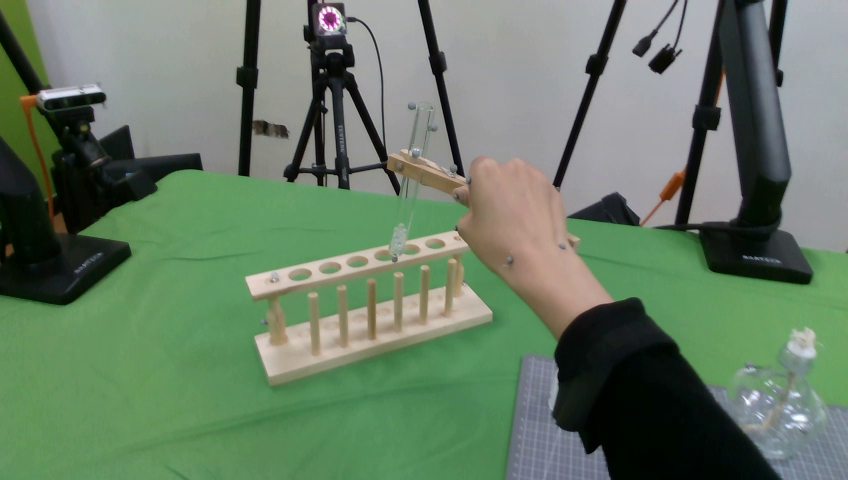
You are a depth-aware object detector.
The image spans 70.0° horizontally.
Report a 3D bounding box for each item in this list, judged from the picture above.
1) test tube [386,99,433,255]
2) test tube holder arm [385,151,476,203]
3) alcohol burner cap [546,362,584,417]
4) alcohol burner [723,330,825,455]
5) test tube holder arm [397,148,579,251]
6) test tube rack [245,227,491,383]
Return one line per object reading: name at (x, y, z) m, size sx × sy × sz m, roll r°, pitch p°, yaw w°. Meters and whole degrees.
test tube at (-0.014, -0.049, 0.522) m, size 0.017 × 0.151 × 0.017 m, roll 10°, pitch 34°, yaw -6°
test tube holder arm at (0.006, -0.053, 0.499) m, size 0.087 × 0.015 × 0.010 m, roll 25°, pitch 38°, yaw 23°
alcohol burner cap at (0.129, 0.131, 0.546) m, size 0.034 × 0.048 × 0.033 m, roll 2°, pitch 32°, yaw -1°
alcohol burner at (0.295, 0.120, 0.503) m, size 0.078 × 0.120 × 0.077 m, roll 2°, pitch 33°, yaw -1°
test tube holder arm at (0.044, -0.036, 0.482) m, size 0.177 × 0.015 × 0.013 m, roll 29°, pitch 40°, yaw 29°
test tube rack at (-0.050, 0.060, 0.621) m, size 0.243 × 0.086 × 0.066 m, roll -13°, pitch 33°, yaw -23°
